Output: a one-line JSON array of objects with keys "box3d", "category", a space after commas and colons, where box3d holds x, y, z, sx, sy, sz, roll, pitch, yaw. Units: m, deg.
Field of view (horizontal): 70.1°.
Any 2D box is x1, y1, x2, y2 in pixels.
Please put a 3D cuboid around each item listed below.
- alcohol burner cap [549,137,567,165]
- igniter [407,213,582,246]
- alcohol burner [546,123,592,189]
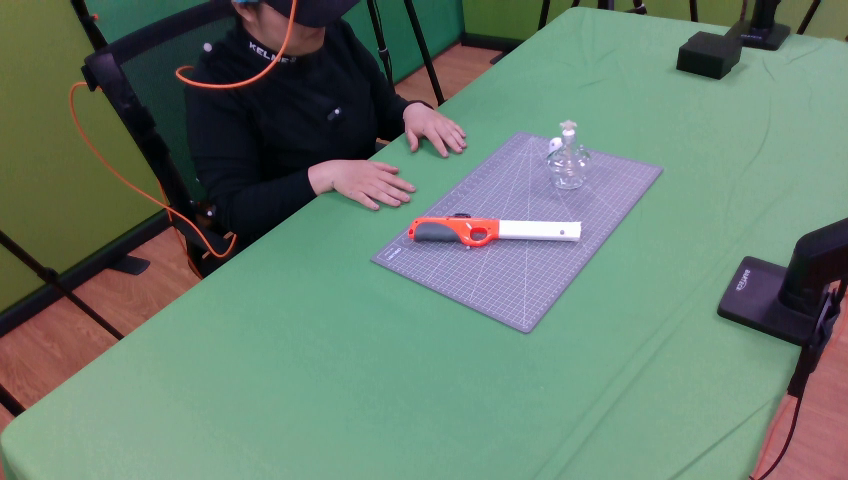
[{"box3d": [0.247, -0.166, 1.114, 0.034, 0.048, 0.033, -6, 40, 5], "category": "alcohol burner cap"}, {"box3d": [0.110, -0.016, 0.969, 0.276, 0.025, 0.057, 1, 63, 9], "category": "igniter"}, {"box3d": [0.248, -0.147, 1.034, 0.078, 0.120, 0.077, -7, 41, 6], "category": "alcohol burner"}]
